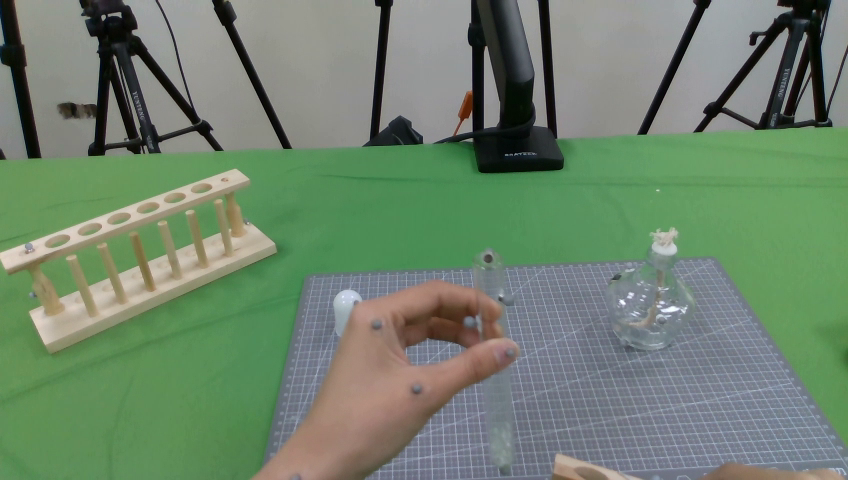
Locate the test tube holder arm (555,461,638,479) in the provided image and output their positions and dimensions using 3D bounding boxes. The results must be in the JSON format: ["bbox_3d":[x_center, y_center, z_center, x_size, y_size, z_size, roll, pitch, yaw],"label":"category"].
[{"bbox_3d":[0.163,0.152,0.336,0.178,0.015,0.013,9,39,13],"label":"test tube holder arm"}]

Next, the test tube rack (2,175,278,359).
[{"bbox_3d":[-0.283,0.019,0.636,0.242,0.086,0.066,-27,41,-31],"label":"test tube rack"}]

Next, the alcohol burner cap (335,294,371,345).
[{"bbox_3d":[-0.069,0.073,0.579,0.034,0.048,0.033,-2,35,1],"label":"alcohol burner cap"}]

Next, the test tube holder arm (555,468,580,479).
[{"bbox_3d":[0.118,0.148,0.342,0.087,0.015,0.010,11,39,14],"label":"test tube holder arm"}]

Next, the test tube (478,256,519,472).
[{"bbox_3d":[0.042,0.076,0.338,0.017,0.151,0.017,-6,30,3],"label":"test tube"}]

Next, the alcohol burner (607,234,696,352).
[{"bbox_3d":[0.206,0.042,0.542,0.078,0.120,0.077,-1,37,1],"label":"alcohol burner"}]
